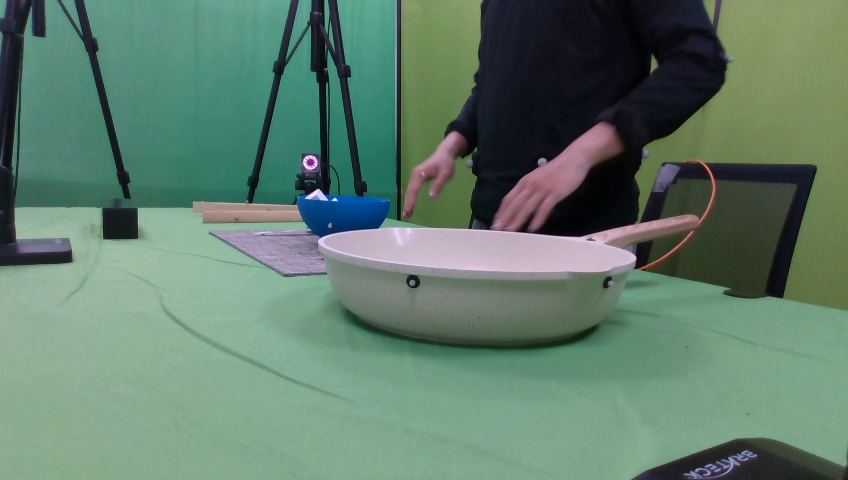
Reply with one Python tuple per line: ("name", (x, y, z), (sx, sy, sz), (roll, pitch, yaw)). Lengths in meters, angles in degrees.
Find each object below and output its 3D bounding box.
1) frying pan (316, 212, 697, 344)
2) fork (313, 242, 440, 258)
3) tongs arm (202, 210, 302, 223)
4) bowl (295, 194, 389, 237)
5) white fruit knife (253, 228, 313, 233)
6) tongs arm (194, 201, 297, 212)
("frying pan", (0.133, 0.013, 0.629), (0.490, 0.102, 0.305), (-12, 14, -31))
("fork", (-0.063, 0.013, 0.878), (0.208, 0.018, 0.028), (-5, 1, -34))
("tongs arm", (-0.298, -0.057, 1.354), (0.390, 0.028, 0.028), (-3, 7, -36))
("bowl", (-0.133, -0.032, 0.980), (0.151, 0.077, 0.151), (2, 7, 0))
("white fruit knife", (-0.206, -0.019, 1.101), (0.208, 0.016, 0.027), (-3, -2, -28))
("tongs arm", (-0.335, -0.072, 1.424), (0.387, 0.026, 0.050), (0, 9, -24))
